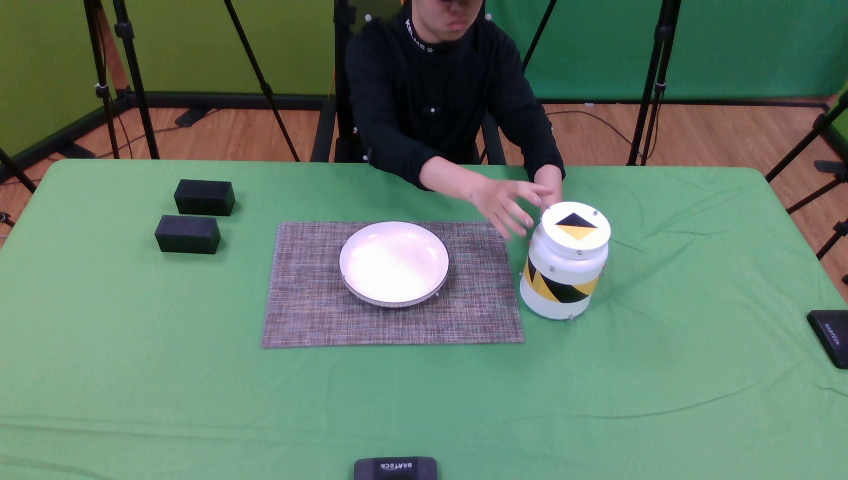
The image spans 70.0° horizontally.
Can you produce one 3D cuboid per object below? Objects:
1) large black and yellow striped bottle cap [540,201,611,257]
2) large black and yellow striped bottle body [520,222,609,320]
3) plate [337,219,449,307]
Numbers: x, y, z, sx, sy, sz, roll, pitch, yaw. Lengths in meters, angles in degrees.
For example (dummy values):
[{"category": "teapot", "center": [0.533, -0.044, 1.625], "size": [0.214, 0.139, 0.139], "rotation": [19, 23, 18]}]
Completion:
[{"category": "large black and yellow striped bottle cap", "center": [0.251, -0.021, 1.004], "size": [0.115, 0.019, 0.114], "rotation": [2, 47, -2]}, {"category": "large black and yellow striped bottle body", "center": [0.247, 0.038, 1.065], "size": [0.131, 0.185, 0.130], "rotation": [2, 46, -2]}, {"category": "plate", "center": [-0.057, 0.045, 1.132], "size": [0.208, 0.039, 0.206], "rotation": [2, 46, -2]}]
